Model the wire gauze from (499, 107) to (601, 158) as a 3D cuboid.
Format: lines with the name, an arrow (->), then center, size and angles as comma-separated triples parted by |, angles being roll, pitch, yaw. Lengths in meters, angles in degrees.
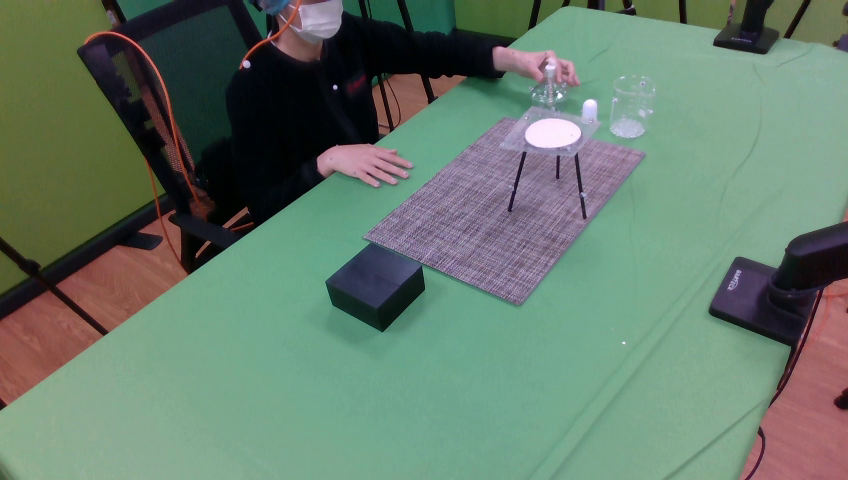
wire gauze -> 0.198, -0.168, 0.943 | 0.120, 0.011, 0.125 | 17, 47, 27

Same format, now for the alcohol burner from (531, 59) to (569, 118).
alcohol burner -> 0.255, -0.311, 1.227 | 0.078, 0.119, 0.077 | -6, 41, 6

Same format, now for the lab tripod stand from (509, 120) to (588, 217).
lab tripod stand -> 0.207, -0.114, 0.983 | 0.148, 0.132, 0.147 | -5, 42, 5

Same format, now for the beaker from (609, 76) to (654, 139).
beaker -> 0.392, -0.248, 1.144 | 0.074, 0.101, 0.083 | -32, 47, -24

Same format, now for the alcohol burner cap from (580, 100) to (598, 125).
alcohol burner cap -> 0.331, -0.258, 1.210 | 0.034, 0.048, 0.033 | -5, 41, 4
